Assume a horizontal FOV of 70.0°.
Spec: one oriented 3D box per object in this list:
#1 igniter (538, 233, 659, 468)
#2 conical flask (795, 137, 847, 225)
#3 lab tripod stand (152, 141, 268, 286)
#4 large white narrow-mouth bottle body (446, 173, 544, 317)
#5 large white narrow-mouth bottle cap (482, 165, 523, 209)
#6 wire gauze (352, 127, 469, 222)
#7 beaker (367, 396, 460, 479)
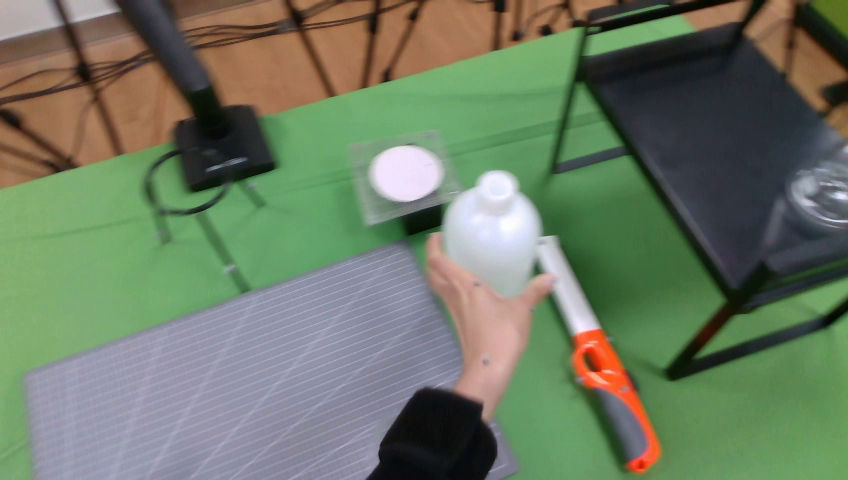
[{"bbox_3d":[0.184,0.109,0.664,0.057,0.025,0.273,-9,58,-18],"label":"igniter"},{"bbox_3d":[0.376,-0.073,0.507,0.075,0.123,0.074,0,58,1],"label":"conical flask"},{"bbox_3d":[-0.238,-0.034,0.691,0.148,0.132,0.147,1,59,-1],"label":"lab tripod stand"},{"bbox_3d":[0.073,-0.002,0.634,0.102,0.196,0.101,0,58,1],"label":"large white narrow-mouth bottle body"},{"bbox_3d":[0.072,-0.049,0.561,0.038,0.024,0.037,0,58,0],"label":"large white narrow-mouth bottle cap"},{"bbox_3d":[-0.018,-0.086,0.737,0.121,0.011,0.124,-13,59,-7],"label":"wire gauze"},{"bbox_3d":[-0.009,0.199,0.564,0.084,0.101,0.073,-18,59,-9],"label":"beaker"}]
